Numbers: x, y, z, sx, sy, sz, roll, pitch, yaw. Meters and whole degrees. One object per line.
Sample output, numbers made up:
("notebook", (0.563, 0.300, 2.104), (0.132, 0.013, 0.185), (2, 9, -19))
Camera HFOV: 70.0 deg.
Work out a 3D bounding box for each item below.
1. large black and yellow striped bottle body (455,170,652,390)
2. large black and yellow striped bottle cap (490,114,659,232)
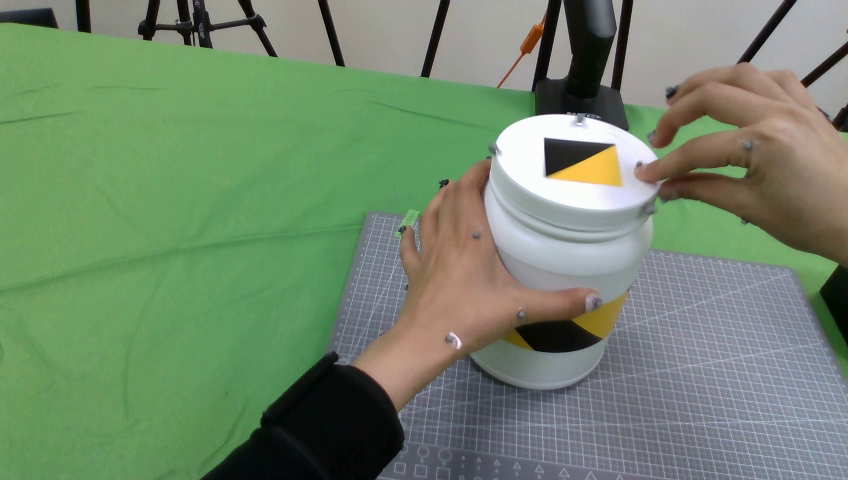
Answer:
("large black and yellow striped bottle body", (0.097, 0.014, 0.475), (0.131, 0.185, 0.129), (3, 42, -3))
("large black and yellow striped bottle cap", (0.103, -0.050, 0.418), (0.115, 0.019, 0.114), (4, 43, -3))
